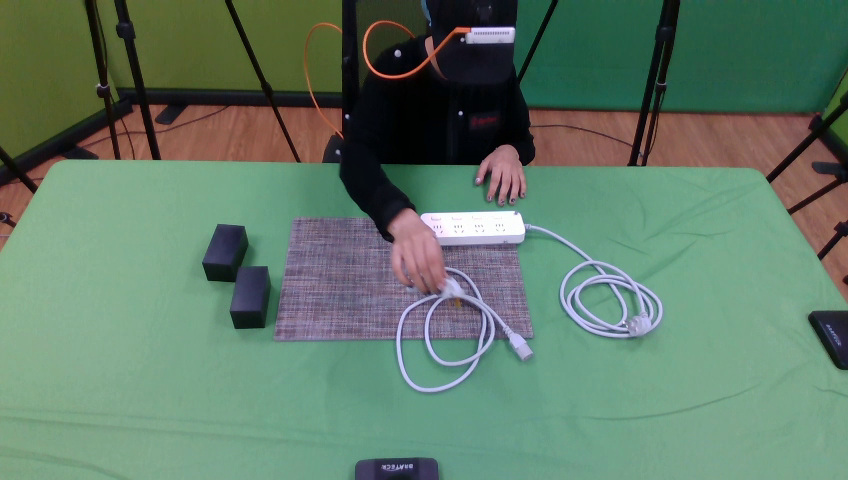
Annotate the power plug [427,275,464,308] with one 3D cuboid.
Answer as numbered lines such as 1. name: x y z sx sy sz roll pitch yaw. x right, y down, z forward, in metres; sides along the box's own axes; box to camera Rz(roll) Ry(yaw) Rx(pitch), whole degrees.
1. power plug: 0.036 0.081 0.948 0.035 0.072 0.052 -10 87 -21

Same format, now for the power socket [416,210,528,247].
1. power socket: 0.098 -0.024 1.213 0.227 0.033 0.071 -2 47 -6
